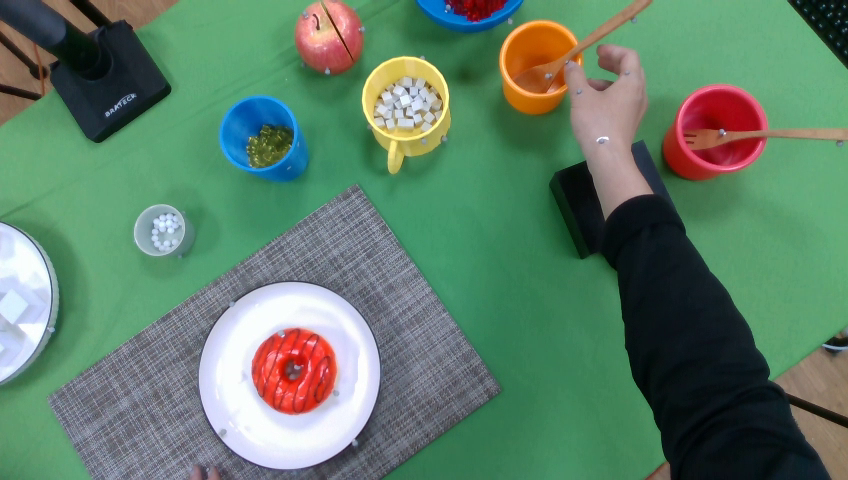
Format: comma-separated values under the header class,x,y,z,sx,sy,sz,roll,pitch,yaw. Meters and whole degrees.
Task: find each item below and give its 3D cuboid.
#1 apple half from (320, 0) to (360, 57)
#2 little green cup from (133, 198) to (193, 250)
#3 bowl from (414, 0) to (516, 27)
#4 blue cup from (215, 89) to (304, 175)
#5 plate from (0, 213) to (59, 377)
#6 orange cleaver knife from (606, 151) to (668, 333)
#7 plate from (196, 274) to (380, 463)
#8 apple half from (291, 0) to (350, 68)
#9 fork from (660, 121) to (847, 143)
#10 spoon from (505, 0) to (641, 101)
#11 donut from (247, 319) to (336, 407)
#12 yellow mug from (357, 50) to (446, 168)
class,x,y,z,sx,sy,sz,roll,pitch,yaw
apple half,-0.094,-0.261,0.724,0.033,0.081,0.081,-29,81,0
little green cup,-0.309,-0.016,0.723,0.061,0.039,0.061,0,82,4
bowl,0.050,-0.315,0.721,0.151,0.077,0.151,0,84,3
blue cup,-0.179,-0.115,0.697,0.092,0.100,0.092,0,84,2
plate,-0.534,0.068,0.725,0.207,0.039,0.207,0,83,3
orange cleaver knife,0.234,0.004,0.668,0.012,0.076,0.213,-20,111,3
plate,-0.152,0.143,0.691,0.209,0.038,0.208,0,83,3
apple half,-0.129,-0.241,0.724,0.053,0.075,0.080,-30,85,2
fork,0.355,-0.118,0.645,0.206,0.019,0.028,8,66,46
spoon,0.163,-0.214,0.666,0.022,0.193,0.041,-17,80,-43
donut,-0.148,0.138,0.680,0.099,0.048,0.099,0,84,4
yellow mug,-0.028,-0.148,0.710,0.100,0.064,0.130,13,85,4
